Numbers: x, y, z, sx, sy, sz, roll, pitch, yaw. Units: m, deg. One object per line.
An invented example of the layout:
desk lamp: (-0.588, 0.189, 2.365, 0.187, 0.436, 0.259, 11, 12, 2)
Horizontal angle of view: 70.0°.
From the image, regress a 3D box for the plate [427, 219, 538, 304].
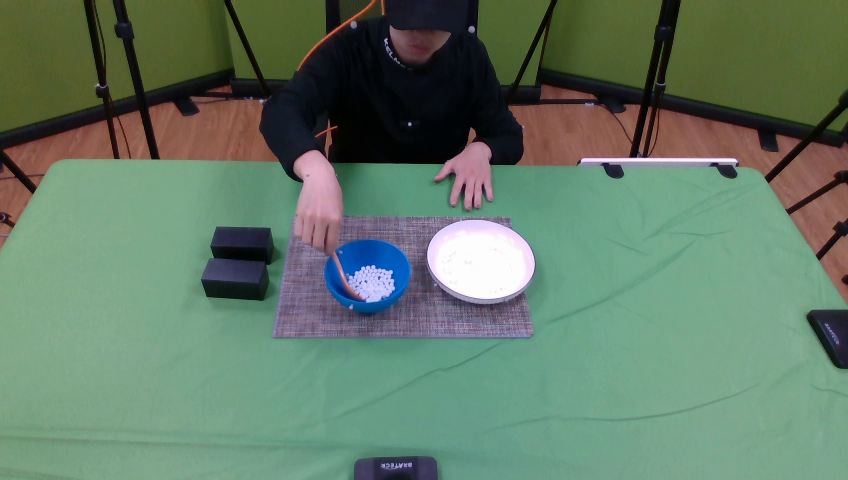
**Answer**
plate: (0.109, 0.044, 1.149, 0.208, 0.039, 0.206, 2, 46, -2)

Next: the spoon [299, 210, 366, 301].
spoon: (-0.159, 0.028, 1.050, 0.021, 0.041, 0.194, -31, 94, -4)

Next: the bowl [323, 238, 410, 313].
bowl: (-0.101, 0.077, 1.073, 0.151, 0.077, 0.150, 2, 46, -2)
